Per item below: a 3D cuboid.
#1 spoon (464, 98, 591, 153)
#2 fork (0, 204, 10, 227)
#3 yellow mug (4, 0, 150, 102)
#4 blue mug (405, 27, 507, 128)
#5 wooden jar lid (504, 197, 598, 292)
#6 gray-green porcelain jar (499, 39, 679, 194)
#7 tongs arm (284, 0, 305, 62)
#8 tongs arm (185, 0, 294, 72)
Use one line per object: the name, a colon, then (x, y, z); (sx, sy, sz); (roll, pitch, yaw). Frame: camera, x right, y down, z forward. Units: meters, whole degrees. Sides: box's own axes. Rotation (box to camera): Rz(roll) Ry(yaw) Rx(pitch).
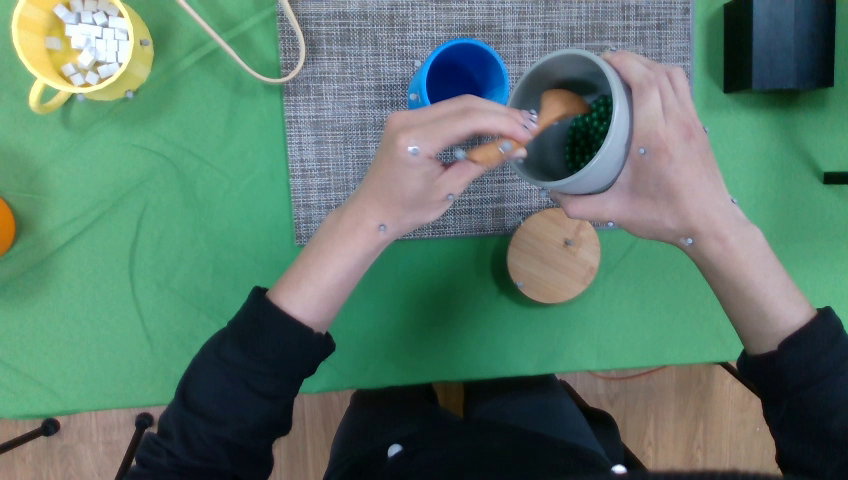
spoon: (0.078, -0.081, 0.435); (0.041, 0.194, 0.022); (25, 122, 23)
fork: (-0.469, -0.027, 0.507); (0.209, 0.018, 0.028); (3, 99, -54)
yellow mug: (-0.321, -0.179, 0.553); (0.100, 0.063, 0.131); (36, 92, -13)
blue mug: (0.042, -0.148, 0.595); (0.117, 0.105, 0.082); (23, 93, -12)
wooden jar lid: (0.141, 0.005, 0.679); (0.108, 0.020, 0.108); (-2, 102, -8)
gray-green porcelain jar: (0.141, -0.095, 0.502); (0.127, 0.105, 0.106); (6, 98, -44)
tongs arm: (-0.198, -0.350, 0.546); (0.028, 0.027, 0.390); (-30, 109, -13)
tongs arm: (-0.265, -0.300, 0.539); (0.051, 0.026, 0.387); (-42, 109, -5)
